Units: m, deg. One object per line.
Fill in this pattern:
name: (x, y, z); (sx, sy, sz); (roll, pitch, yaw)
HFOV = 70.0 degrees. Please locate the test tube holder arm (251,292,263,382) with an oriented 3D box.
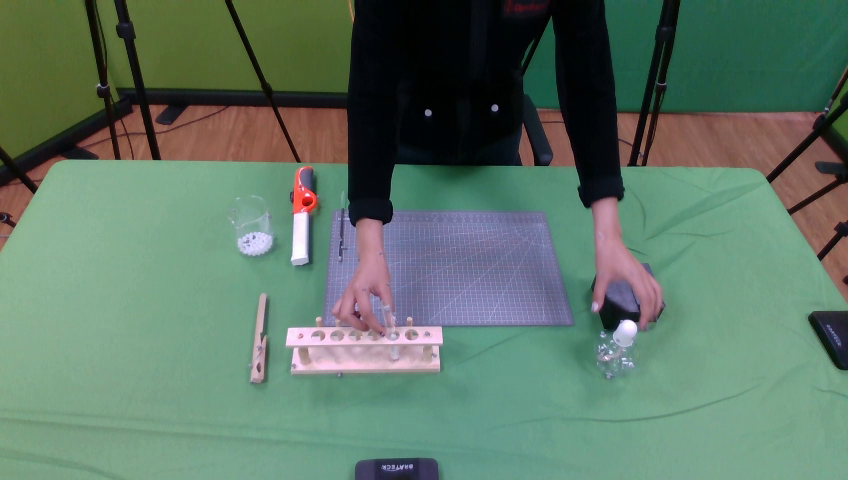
test tube holder arm: (-0.282, 0.159, 1.025); (0.013, 0.015, 0.177); (23, 36, -33)

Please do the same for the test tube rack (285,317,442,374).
test tube rack: (-0.095, 0.166, 0.988); (0.242, 0.085, 0.066); (0, 46, -4)

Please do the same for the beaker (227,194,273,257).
beaker: (-0.326, -0.022, 1.142); (0.074, 0.101, 0.083); (10, 47, 6)

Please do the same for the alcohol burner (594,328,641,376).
alcohol burner: (0.322, 0.170, 0.994); (0.078, 0.119, 0.077); (3, 48, -3)

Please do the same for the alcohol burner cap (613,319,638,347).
alcohol burner cap: (0.323, 0.146, 0.966); (0.034, 0.048, 0.033); (-1, 52, 2)

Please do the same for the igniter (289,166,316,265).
igniter: (-0.248, -0.058, 1.233); (0.057, 0.025, 0.274); (-9, 47, 1)

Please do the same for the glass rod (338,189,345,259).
glass rod: (-0.166, -0.036, 1.227); (0.008, 0.008, 0.198); (-1, 46, -4)

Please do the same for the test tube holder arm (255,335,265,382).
test tube holder arm: (-0.270, 0.193, 0.997); (0.010, 0.015, 0.087); (24, 36, -32)

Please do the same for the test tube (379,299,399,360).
test tube: (-0.054, 0.142, 0.945); (0.017, 0.151, 0.017); (-3, 46, 3)
